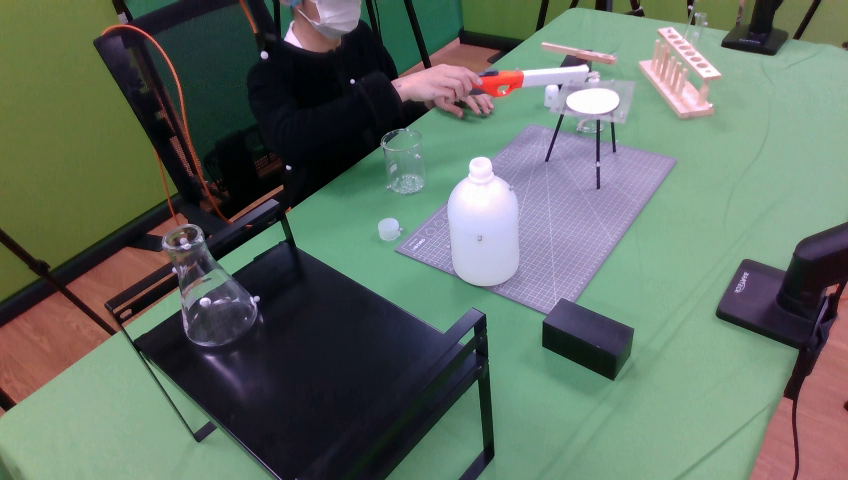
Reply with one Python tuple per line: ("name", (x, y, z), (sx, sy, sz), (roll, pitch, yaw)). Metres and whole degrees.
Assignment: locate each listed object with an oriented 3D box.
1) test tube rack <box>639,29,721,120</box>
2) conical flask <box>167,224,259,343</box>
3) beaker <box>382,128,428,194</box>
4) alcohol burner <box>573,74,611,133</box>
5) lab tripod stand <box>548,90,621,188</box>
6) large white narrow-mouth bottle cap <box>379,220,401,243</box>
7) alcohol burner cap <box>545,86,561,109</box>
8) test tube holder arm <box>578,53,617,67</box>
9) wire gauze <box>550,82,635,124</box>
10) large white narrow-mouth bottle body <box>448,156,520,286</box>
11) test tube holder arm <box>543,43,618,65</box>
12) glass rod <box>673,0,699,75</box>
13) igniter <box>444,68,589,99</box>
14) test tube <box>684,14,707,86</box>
("test tube rack", (0.527, -0.351, 1.262), (0.067, 0.085, 0.241), (-8, 40, 1))
("conical flask", (-0.220, 0.041, 0.613), (0.075, 0.122, 0.075), (-5, 40, 4))
("beaker", (-0.030, -0.142, 1.095), (0.073, 0.101, 0.084), (14, 44, 23))
("alcohol burner", (0.330, -0.270, 1.177), (0.078, 0.119, 0.077), (-4, 43, 4))
("lab tripod stand", (0.289, -0.184, 1.062), (0.148, 0.132, 0.147), (-6, 41, 6))
("large white narrow-mouth bottle cap", (-0.057, -0.015, 1.011), (0.038, 0.024, 0.037), (-4, 40, 4))
("alcohol burner cap", (0.274, -0.307, 1.285), (0.034, 0.048, 0.033), (-5, 42, 5))
("test tube holder arm", (0.376, -0.393, 1.314), (0.087, 0.015, 0.010), (26, 51, 32))
("wire gauze", (0.285, -0.236, 1.020), (0.124, 0.011, 0.121), (10, 44, 22))
("large white narrow-mouth bottle body", (0.086, -0.032, 0.869), (0.102, 0.195, 0.101), (-4, 40, 4))
("test tube holder arm", (0.345, -0.413, 1.341), (0.177, 0.015, 0.013), (25, 50, 31))
("glass rod", (0.541, -0.427, 1.246), (0.008, 0.200, 0.008), (0, 48, 1))
("igniter", (0.171, -0.289, 1.109), (0.277, 0.057, 0.025), (-8, 49, -12))
("test tube", (0.541, -0.379, 1.216), (0.017, 0.151, 0.017), (-2, 44, 2))
